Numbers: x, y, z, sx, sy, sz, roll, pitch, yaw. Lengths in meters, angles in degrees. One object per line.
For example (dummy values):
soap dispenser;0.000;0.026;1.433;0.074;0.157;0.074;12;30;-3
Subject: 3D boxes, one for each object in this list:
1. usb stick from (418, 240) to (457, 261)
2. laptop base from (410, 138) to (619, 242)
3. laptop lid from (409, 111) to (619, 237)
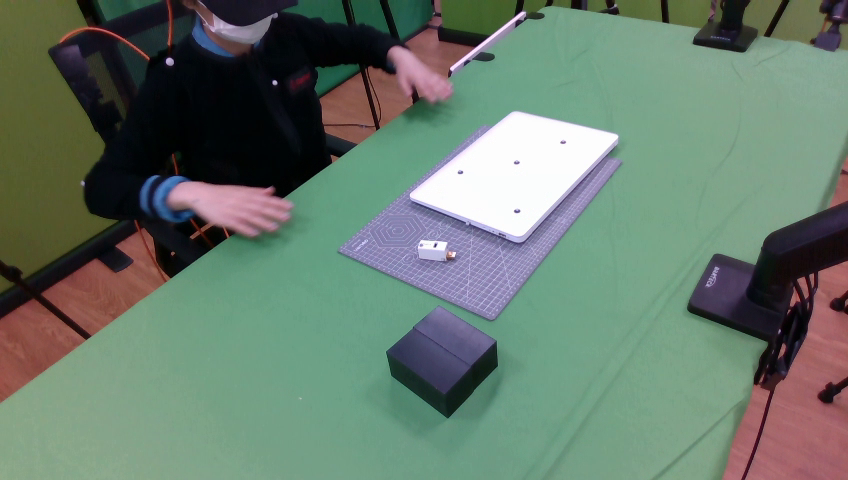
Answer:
usb stick;0.021;0.017;0.938;0.059;0.027;0.021;8;42;13
laptop base;0.170;-0.127;1.096;0.233;0.023;0.355;21;47;34
laptop lid;0.167;-0.137;1.089;0.239;0.013;0.358;24;48;34
